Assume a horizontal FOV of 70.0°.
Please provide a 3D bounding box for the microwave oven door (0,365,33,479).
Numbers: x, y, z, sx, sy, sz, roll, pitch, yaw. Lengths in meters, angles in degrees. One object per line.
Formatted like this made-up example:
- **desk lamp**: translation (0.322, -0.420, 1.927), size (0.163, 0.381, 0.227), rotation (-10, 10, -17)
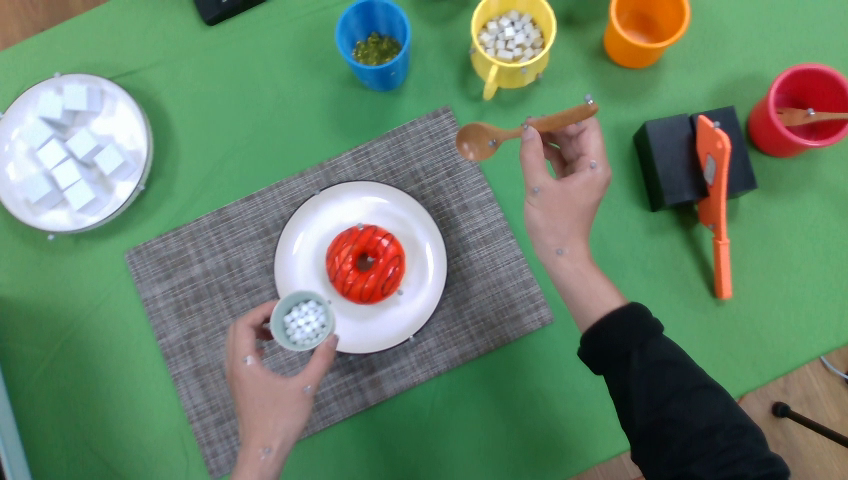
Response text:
- **microwave oven door**: translation (-0.478, 0.277, 0.595), size (0.039, 0.244, 0.354), rotation (-22, 81, 0)

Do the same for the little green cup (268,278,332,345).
- **little green cup**: translation (-0.120, 0.074, 0.604), size (0.061, 0.039, 0.061), rotation (-1, 58, 2)

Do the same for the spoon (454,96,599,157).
- **spoon**: translation (0.085, -0.103, 0.552), size (0.021, 0.192, 0.042), rotation (-32, 105, -24)

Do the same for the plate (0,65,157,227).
- **plate**: translation (-0.436, -0.117, 0.767), size (0.207, 0.039, 0.207), rotation (0, 82, 3)

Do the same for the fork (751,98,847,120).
- **fork**: translation (0.470, -0.140, 0.666), size (0.205, 0.019, 0.028), rotation (19, 67, 48)

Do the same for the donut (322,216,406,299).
- **donut**: translation (-0.070, 0.021, 0.713), size (0.099, 0.048, 0.099), rotation (-1, 83, 5)

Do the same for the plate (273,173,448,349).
- **plate**: translation (-0.074, 0.025, 0.724), size (0.209, 0.038, 0.208), rotation (0, 83, 4)

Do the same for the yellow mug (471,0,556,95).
- **yellow mug**: translation (0.101, -0.238, 0.739), size (0.100, 0.064, 0.130), rotation (23, 85, 6)

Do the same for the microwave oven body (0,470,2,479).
- **microwave oven body**: translation (-0.629, 0.292, 0.607), size (0.326, 0.261, 0.440), rotation (-22, 82, -1)

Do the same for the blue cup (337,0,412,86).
- **blue cup**: translation (-0.054, -0.233, 0.730), size (0.092, 0.100, 0.092), rotation (0, 83, 2)

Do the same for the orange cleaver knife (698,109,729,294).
- **orange cleaver knife**: translation (0.329, -0.042, 0.692), size (0.012, 0.076, 0.212), rotation (-10, 111, 5)
